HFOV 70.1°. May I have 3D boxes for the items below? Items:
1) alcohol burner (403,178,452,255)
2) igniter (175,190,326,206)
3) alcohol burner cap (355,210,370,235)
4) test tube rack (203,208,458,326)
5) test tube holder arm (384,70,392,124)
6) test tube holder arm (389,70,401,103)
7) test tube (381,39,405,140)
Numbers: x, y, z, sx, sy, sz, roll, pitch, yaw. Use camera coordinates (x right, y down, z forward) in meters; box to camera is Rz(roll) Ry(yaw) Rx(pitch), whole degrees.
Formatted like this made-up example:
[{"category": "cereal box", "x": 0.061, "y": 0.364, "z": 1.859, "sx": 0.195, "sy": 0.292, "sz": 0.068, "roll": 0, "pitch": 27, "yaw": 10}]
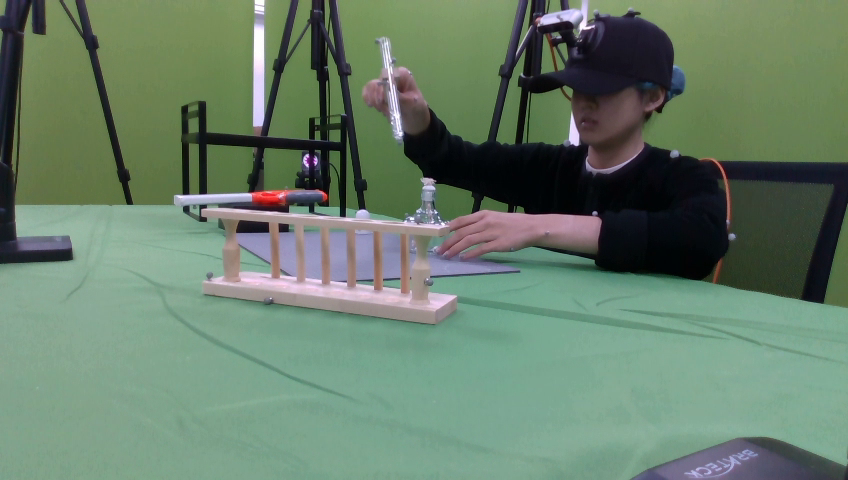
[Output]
[{"category": "alcohol burner", "x": 0.005, "y": -0.036, "z": 0.923, "sx": 0.078, "sy": 0.119, "sz": 0.078, "roll": 4, "pitch": 8, "yaw": 0}, {"category": "igniter", "x": -0.315, "y": -0.079, "z": 1.128, "sx": 0.278, "sy": 0.025, "sz": 0.057, "roll": -5, "pitch": 13, "yaw": -34}, {"category": "alcohol burner cap", "x": -0.116, "y": -0.033, "z": 1.136, "sx": 0.034, "sy": 0.048, "sz": 0.034, "roll": 2, "pitch": 7, "yaw": 0}, {"category": "test tube rack", "x": -0.090, "y": 0.019, "z": 0.579, "sx": 0.241, "sy": 0.085, "sz": 0.067, "roll": 5, "pitch": 7, "yaw": 19}, {"category": "test tube holder arm", "x": -0.053, "y": -0.208, "z": 0.892, "sx": 0.013, "sy": 0.015, "sz": 0.178, "roll": -2, "pitch": -9, "yaw": -4}, {"category": "test tube holder arm", "x": -0.043, "y": -0.215, "z": 0.849, "sx": 0.010, "sy": 0.015, "sz": 0.087, "roll": -1, "pitch": -9, "yaw": -11}, {"category": "test tube", "x": -0.042, "y": -0.205, "z": 0.821, "sx": 0.017, "sy": 0.150, "sz": 0.017, "roll": -8, "pitch": -15, "yaw": -2}]
